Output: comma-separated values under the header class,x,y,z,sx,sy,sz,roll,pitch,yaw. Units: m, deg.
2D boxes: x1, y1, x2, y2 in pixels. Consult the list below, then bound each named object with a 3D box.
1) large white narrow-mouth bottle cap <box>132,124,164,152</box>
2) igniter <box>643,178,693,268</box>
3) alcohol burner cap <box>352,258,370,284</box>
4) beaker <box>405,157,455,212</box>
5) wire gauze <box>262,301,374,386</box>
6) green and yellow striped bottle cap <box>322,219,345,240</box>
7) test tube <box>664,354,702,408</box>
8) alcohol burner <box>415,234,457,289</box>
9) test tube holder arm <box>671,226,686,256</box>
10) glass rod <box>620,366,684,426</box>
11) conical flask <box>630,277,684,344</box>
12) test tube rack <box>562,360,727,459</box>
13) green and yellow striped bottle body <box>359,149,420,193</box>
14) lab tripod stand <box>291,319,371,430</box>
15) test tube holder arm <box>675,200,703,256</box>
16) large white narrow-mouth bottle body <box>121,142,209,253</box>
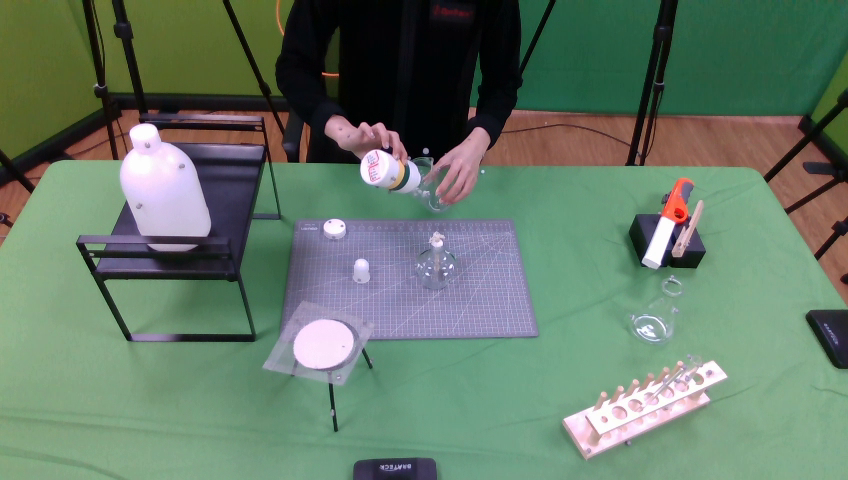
class,x,y,z,sx,sy,sz,roll,pitch,yaw
large white narrow-mouth bottle cap,-0.370,-0.137,0.812,0.038,0.024,0.037,3,46,-3
igniter,0.488,-0.042,1.205,0.057,0.025,0.276,30,51,11
alcohol burner cap,-0.117,0.055,1.118,0.034,0.048,0.033,2,46,-1
beaker,0.010,-0.105,1.165,0.084,0.101,0.073,-48,49,3
wire gauze,-0.150,0.148,0.873,0.121,0.011,0.124,14,46,12
green and yellow striped bottle cap,-0.180,-0.022,1.206,0.045,0.020,0.045,2,45,-2
test tube,0.385,0.215,0.906,0.017,0.151,0.017,-1,49,1
alcohol burner,0.022,0.033,1.099,0.078,0.120,0.077,1,47,-1
test tube holder arm,0.494,0.001,1.167,0.010,0.015,0.087,1,36,42
glass rod,0.322,0.227,0.866,0.008,0.200,0.008,5,51,-7
conical flask,0.408,0.117,1.045,0.075,0.122,0.075,2,46,-2
test tube rack,0.341,0.247,0.940,0.243,0.085,0.066,-16,49,-18
green and yellow striped bottle body,-0.056,-0.121,1.090,0.063,0.063,0.120,41,17,30
lab tripod stand,-0.146,0.193,0.923,0.148,0.132,0.147,1,47,-1
test tube holder arm,0.523,-0.025,1.190,0.013,0.015,0.178,1,36,41
large white narrow-mouth bottle body,-0.378,-0.077,0.875,0.102,0.195,0.101,3,46,-3
